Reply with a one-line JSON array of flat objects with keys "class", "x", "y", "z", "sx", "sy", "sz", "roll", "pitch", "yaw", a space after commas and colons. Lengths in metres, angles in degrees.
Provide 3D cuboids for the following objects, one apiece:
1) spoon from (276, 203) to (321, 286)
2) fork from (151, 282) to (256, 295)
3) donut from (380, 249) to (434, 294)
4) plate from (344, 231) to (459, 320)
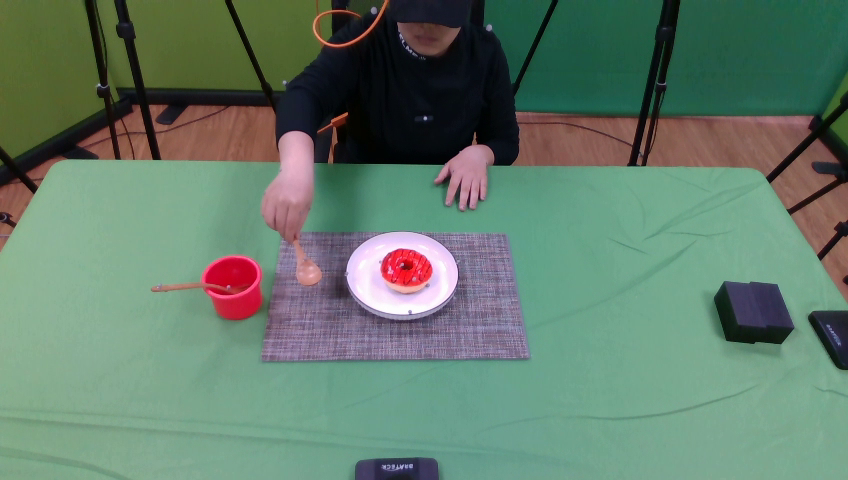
[{"class": "spoon", "x": -0.225, "y": 0.004, "z": 1.060, "sx": 0.041, "sy": 0.022, "sz": 0.192, "roll": -21, "pitch": 61, "yaw": -13}, {"class": "fork", "x": -0.361, "y": 0.080, "z": 1.007, "sx": 0.028, "sy": 0.018, "sz": 0.208, "roll": 35, "pitch": 11, "yaw": 27}, {"class": "donut", "x": -0.032, "y": 0.056, "z": 1.111, "sx": 0.099, "sy": 0.048, "sz": 0.098, "roll": 3, "pitch": 43, "yaw": -3}, {"class": "plate", "x": -0.042, "y": 0.068, "z": 1.115, "sx": 0.209, "sy": 0.038, "sz": 0.208, "roll": 2, "pitch": 46, "yaw": -2}]
